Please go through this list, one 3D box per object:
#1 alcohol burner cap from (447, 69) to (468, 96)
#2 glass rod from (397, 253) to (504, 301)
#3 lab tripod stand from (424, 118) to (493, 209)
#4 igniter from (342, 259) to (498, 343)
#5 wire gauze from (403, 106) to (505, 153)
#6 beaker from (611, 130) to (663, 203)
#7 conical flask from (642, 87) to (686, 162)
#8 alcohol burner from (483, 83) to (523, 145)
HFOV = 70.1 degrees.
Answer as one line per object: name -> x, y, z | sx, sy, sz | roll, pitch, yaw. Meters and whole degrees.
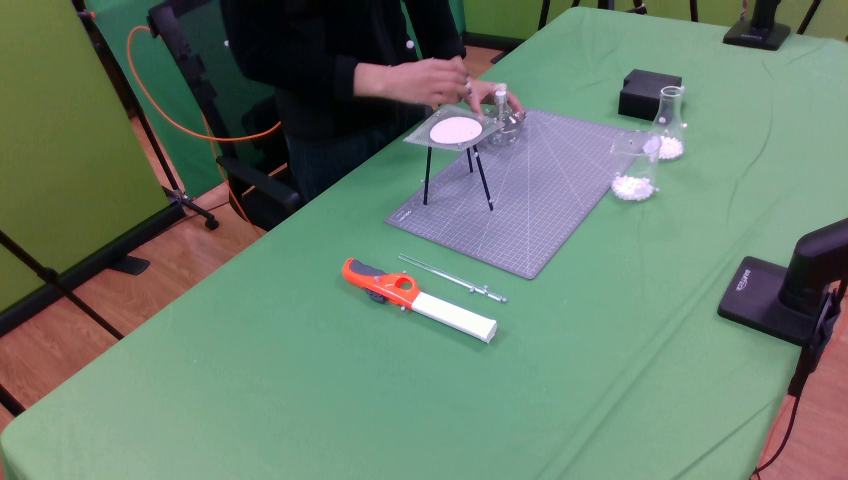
alcohol burner cap -> 0.060, -0.293, 1.116 | 0.034, 0.048, 0.033 | -8, 56, 13
glass rod -> 0.036, 0.054, 0.922 | 0.198, 0.008, 0.008 | 22, 50, 31
lab tripod stand -> 0.061, -0.133, 1.038 | 0.148, 0.132, 0.147 | -6, 38, 6
igniter -> -0.017, 0.084, 0.883 | 0.274, 0.025, 0.057 | 20, 59, 31
wire gauze -> 0.049, -0.181, 0.992 | 0.120, 0.011, 0.125 | 23, 48, 34
beaker -> 0.346, -0.118, 0.998 | 0.084, 0.101, 0.073 | -17, 40, -7
conical flask -> 0.429, -0.206, 1.067 | 0.075, 0.122, 0.075 | -6, 40, 6
alcohol burner -> 0.152, -0.246, 1.170 | 0.078, 0.120, 0.077 | -7, 39, 6
